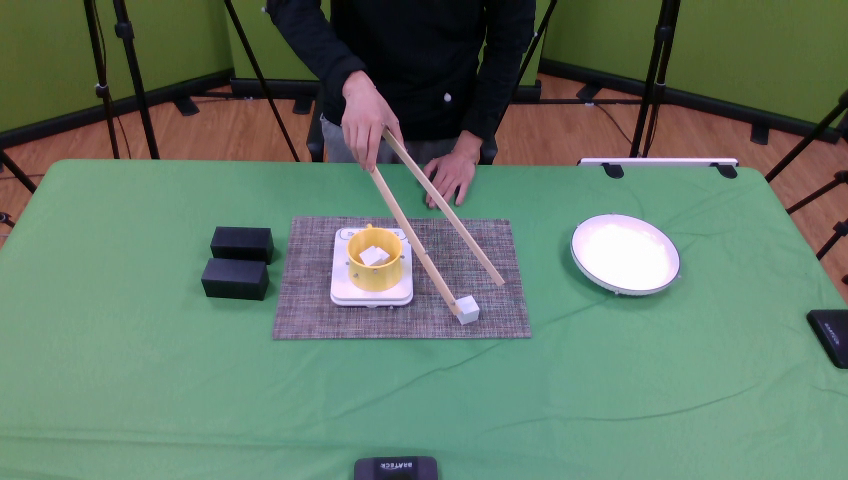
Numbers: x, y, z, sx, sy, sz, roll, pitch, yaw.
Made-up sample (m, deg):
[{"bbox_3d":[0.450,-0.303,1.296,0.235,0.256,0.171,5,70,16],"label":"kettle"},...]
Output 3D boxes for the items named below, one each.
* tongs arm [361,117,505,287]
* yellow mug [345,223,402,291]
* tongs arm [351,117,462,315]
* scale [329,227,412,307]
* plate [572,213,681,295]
[{"bbox_3d":[0.018,-0.070,1.082,0.028,0.028,0.387,-36,85,-27],"label":"tongs arm"},{"bbox_3d":[-0.092,0.022,1.093,0.100,0.064,0.130,-7,46,-10],"label":"yellow mug"},{"bbox_3d":[-0.028,-0.045,1.050,0.051,0.026,0.384,-28,81,-30],"label":"tongs arm"},{"bbox_3d":[-0.099,0.042,1.139,0.149,0.032,0.199,1,46,-4],"label":"scale"},{"bbox_3d":[0.392,0.030,1.189,0.208,0.039,0.206,2,46,-2],"label":"plate"}]
